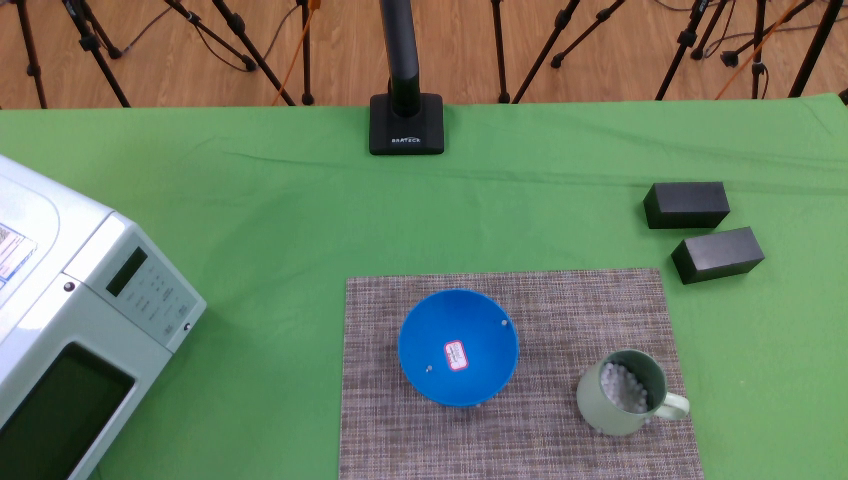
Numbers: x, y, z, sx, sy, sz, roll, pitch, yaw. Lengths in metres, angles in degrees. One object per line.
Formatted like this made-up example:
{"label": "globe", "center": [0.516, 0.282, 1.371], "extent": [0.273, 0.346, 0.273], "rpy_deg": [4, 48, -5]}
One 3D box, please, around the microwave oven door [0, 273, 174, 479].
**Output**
{"label": "microwave oven door", "center": [-0.423, 0.226, 0.626], "extent": [0.039, 0.245, 0.354], "rpy_deg": [24, 66, 12]}

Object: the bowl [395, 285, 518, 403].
{"label": "bowl", "center": [0.040, 0.141, 0.777], "extent": [0.151, 0.077, 0.150], "rpy_deg": [0, 63, 0]}

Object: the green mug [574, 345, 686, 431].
{"label": "green mug", "center": [0.254, 0.186, 0.741], "extent": [0.125, 0.106, 0.092], "rpy_deg": [16, 64, 8]}

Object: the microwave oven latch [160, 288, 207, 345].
{"label": "microwave oven latch", "center": [-0.322, 0.097, 0.804], "extent": [0.030, 0.030, 0.079], "rpy_deg": [26, 67, 12]}

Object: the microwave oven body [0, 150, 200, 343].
{"label": "microwave oven body", "center": [-0.535, 0.136, 0.675], "extent": [0.325, 0.262, 0.440], "rpy_deg": [25, 67, 11]}
